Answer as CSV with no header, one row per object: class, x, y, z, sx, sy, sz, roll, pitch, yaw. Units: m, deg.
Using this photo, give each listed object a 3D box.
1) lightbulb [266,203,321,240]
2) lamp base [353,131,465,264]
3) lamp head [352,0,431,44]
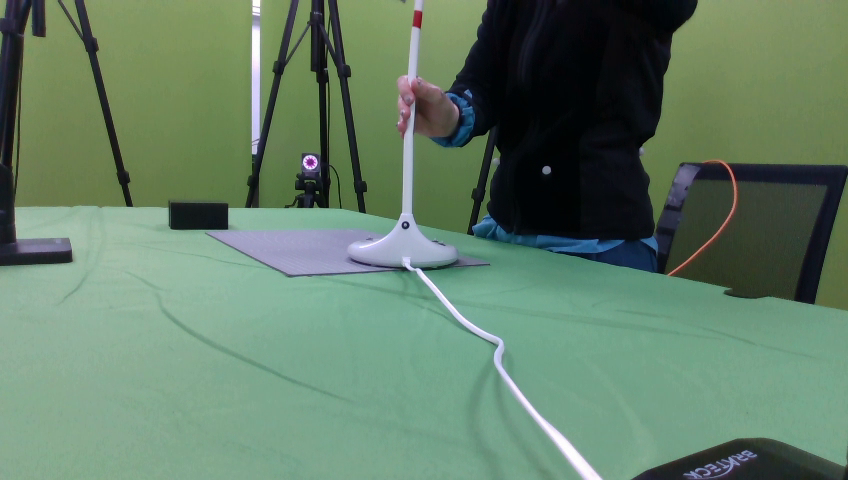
lightbulb,-0.224,-0.026,1.032,0.059,0.059,0.108,8,24,38
lamp base,-0.014,-0.062,0.851,0.161,0.180,0.178,-1,10,-20
lamp head,-0.035,-0.354,0.851,0.113,0.112,0.122,-1,-28,-23
